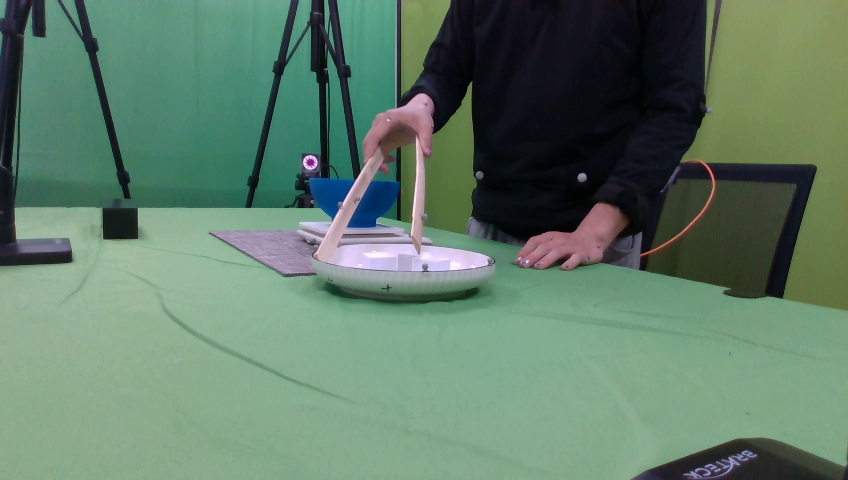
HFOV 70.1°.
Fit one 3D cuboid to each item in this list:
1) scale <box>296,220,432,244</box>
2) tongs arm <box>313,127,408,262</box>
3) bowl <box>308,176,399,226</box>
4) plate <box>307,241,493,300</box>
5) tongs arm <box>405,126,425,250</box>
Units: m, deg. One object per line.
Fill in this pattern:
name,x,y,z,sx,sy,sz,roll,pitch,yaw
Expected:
scale,-0.101,-0.012,1.017,0.202,0.031,0.148,-1,8,-30
tongs arm,-0.073,-0.073,0.814,0.050,0.026,0.384,-14,26,14
bowl,-0.117,-0.064,1.001,0.151,0.077,0.151,2,6,0
plate,-0.026,0.034,0.684,0.208,0.039,0.207,2,7,0
tongs arm,-0.014,-0.086,0.802,0.028,0.028,0.387,-20,26,9
